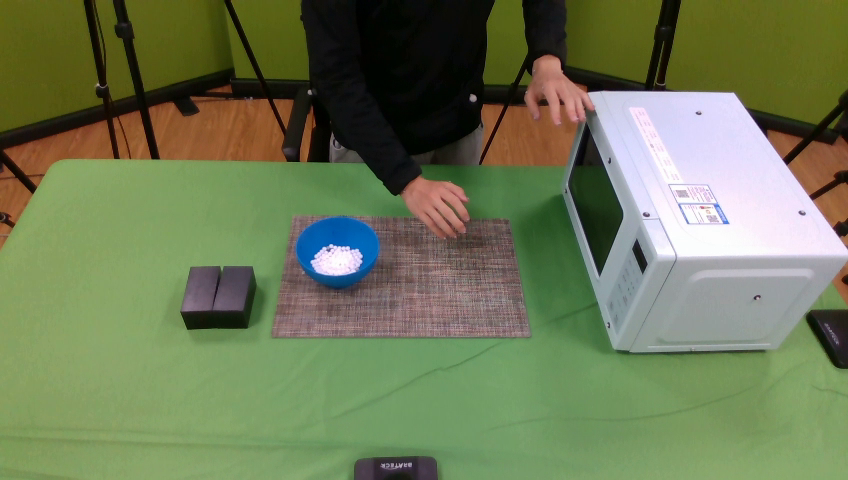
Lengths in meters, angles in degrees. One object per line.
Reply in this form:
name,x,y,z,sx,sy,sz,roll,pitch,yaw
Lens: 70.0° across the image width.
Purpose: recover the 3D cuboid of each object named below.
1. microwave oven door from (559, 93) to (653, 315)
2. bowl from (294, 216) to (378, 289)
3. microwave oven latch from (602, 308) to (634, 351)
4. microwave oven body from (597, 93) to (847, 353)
microwave oven door,0.327,-0.074,1.123,0.039,0.245,0.353,-1,46,-5
bowl,-0.158,0.036,1.110,0.151,0.077,0.150,3,45,-2
microwave oven latch,0.332,0.153,1.044,0.030,0.029,0.078,-1,45,-4
microwave oven body,0.475,-0.041,1.109,0.326,0.261,0.438,-1,45,-4
